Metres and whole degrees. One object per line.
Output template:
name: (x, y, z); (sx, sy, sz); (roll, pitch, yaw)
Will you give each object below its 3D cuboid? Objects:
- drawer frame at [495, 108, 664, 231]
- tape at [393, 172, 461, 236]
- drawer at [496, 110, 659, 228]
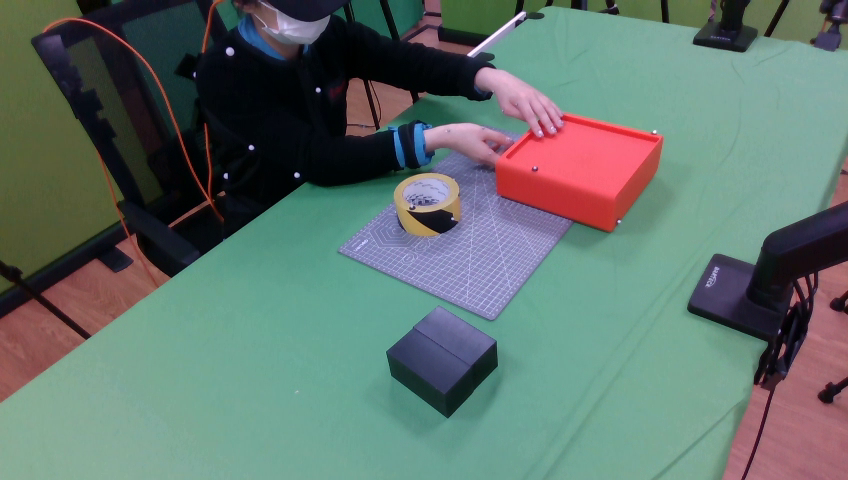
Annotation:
drawer frame: (0.262, -0.127, 1.028); (0.212, 0.083, 0.202); (22, 48, 29)
tape: (0.005, -0.061, 1.012); (0.117, 0.053, 0.116); (-4, 40, 4)
drawer: (0.260, -0.127, 1.028); (0.210, 0.073, 0.195); (23, 48, 30)
